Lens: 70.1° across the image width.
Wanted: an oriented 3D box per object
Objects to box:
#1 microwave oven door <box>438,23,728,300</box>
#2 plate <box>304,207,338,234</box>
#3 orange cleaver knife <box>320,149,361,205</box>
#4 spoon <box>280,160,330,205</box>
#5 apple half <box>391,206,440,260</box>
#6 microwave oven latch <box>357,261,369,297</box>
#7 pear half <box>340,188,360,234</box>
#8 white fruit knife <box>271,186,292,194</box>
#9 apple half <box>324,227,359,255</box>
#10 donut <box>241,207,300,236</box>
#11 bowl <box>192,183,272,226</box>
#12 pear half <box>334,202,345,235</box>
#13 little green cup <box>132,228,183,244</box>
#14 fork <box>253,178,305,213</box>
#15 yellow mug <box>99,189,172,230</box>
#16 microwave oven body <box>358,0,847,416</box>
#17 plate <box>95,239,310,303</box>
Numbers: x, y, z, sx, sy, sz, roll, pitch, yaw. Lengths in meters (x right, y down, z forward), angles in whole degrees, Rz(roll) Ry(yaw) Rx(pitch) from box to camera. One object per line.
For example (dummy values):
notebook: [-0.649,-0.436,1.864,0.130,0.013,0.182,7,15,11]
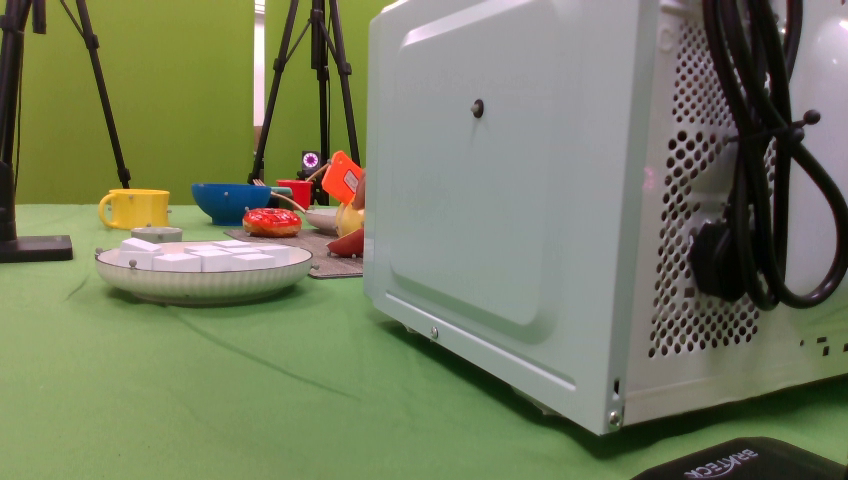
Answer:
microwave oven door: [0.181,-0.072,0.621,0.358,0.243,0.039,-2,8,-29]
plate: [-0.123,-0.037,1.149,0.209,0.038,0.209,2,7,0]
orange cleaver knife: [-0.088,-0.078,0.961,0.012,0.077,0.212,6,-10,35]
spoon: [-0.316,-0.159,1.639,0.194,0.022,0.041,-49,33,-20]
apple half: [-0.005,-0.009,0.837,0.053,0.074,0.081,10,6,23]
microwave oven latch: [-0.019,0.033,0.531,0.079,0.029,0.030,-1,7,-27]
pear half: [-0.085,-0.043,0.923,0.055,0.110,0.077,9,16,34]
white fruit knife: [-0.399,-0.111,1.368,0.208,0.016,0.027,-4,-20,-29]
apple half: [-0.095,0.002,0.848,0.081,0.033,0.081,-21,0,0]
donut: [-0.263,-0.031,1.039,0.099,0.048,0.099,4,10,0]
bowl: [-0.381,-0.071,1.202,0.151,0.077,0.151,3,7,0]
pear half: [-0.119,-0.034,0.947,0.031,0.088,0.071,-1,13,31]
little green cup: [-0.342,0.006,0.779,0.061,0.038,0.061,2,8,0]
fork: [-0.294,-0.084,1.293,0.206,0.018,0.028,29,12,26]
yellow mug: [-0.518,-0.055,1.080,0.099,0.064,0.131,6,9,26]
microwave oven body: [0.211,-0.047,0.474,0.444,0.260,0.324,-1,7,-28]
plate: [-0.224,0.031,0.629,0.208,0.039,0.207,2,7,0]
